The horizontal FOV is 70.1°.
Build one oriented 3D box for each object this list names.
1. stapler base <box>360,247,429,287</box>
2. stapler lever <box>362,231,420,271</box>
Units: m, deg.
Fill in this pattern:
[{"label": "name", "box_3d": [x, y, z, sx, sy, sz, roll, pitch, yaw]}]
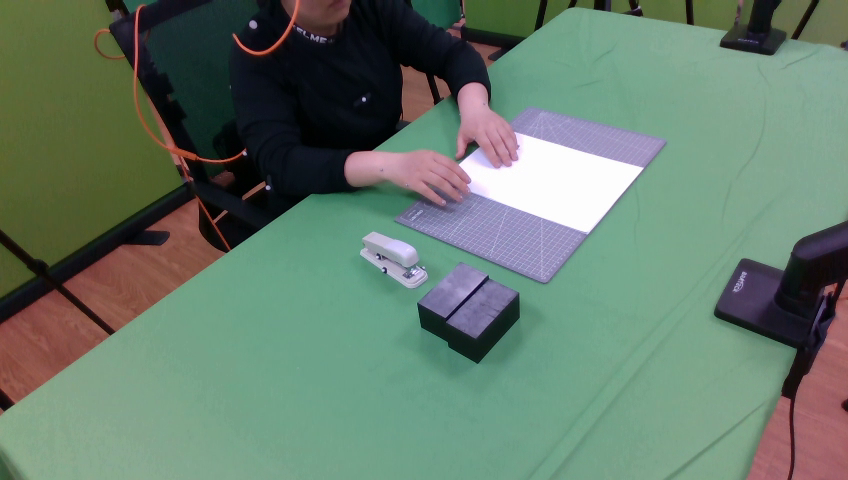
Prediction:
[{"label": "stapler base", "box_3d": [-0.048, 0.031, 0.948, 0.041, 0.024, 0.129, -34, 45, -31]}, {"label": "stapler lever", "box_3d": [-0.052, 0.011, 0.933, 0.027, 0.040, 0.117, -34, 45, -31]}]
